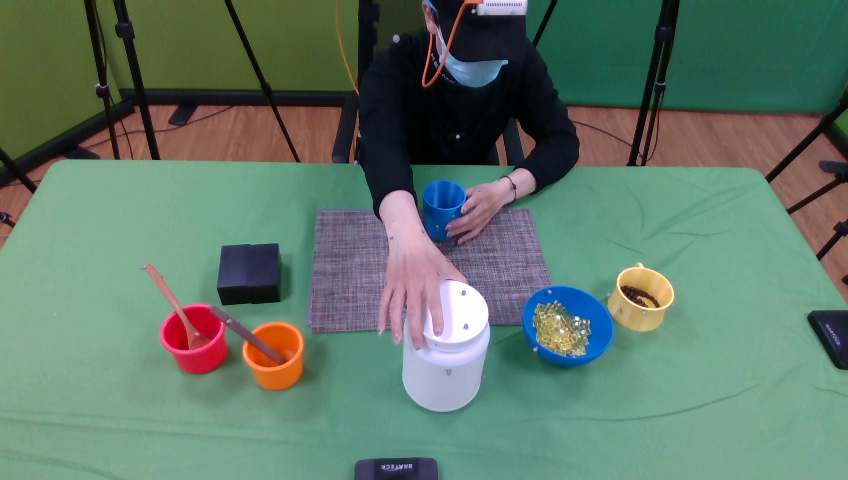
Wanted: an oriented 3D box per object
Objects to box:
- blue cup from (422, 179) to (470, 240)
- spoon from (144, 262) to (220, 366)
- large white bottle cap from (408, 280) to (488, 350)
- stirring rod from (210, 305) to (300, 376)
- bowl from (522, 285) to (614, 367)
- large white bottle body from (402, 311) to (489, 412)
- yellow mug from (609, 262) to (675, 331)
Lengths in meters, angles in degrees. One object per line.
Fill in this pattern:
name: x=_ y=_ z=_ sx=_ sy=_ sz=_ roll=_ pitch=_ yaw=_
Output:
blue cup: x=0.036 y=-0.054 z=1.190 sx=0.093 sy=0.101 sz=0.092 roll=3 pitch=48 yaw=-3
spoon: x=-0.389 y=0.118 z=0.970 sx=0.041 sy=0.021 sz=0.194 roll=-34 pitch=101 yaw=-33
large white bottle cap: x=0.034 y=0.105 z=0.867 sx=0.115 sy=0.018 sz=0.114 roll=1 pitch=46 yaw=-1
stirring rod: x=-0.262 y=0.158 z=0.946 sx=0.177 sy=0.006 sz=0.014 roll=44 pitch=43 yaw=-21
bowl: x=0.235 y=0.158 z=1.022 sx=0.151 sy=0.077 sz=0.150 roll=2 pitch=46 yaw=-2
large white bottle body: x=0.031 y=0.163 z=0.928 sx=0.131 sy=0.185 sz=0.130 roll=2 pitch=46 yaw=-2
yellow mug: x=0.393 y=0.094 z=1.103 sx=0.100 sy=0.064 sz=0.130 roll=7 pitch=45 yaw=4
